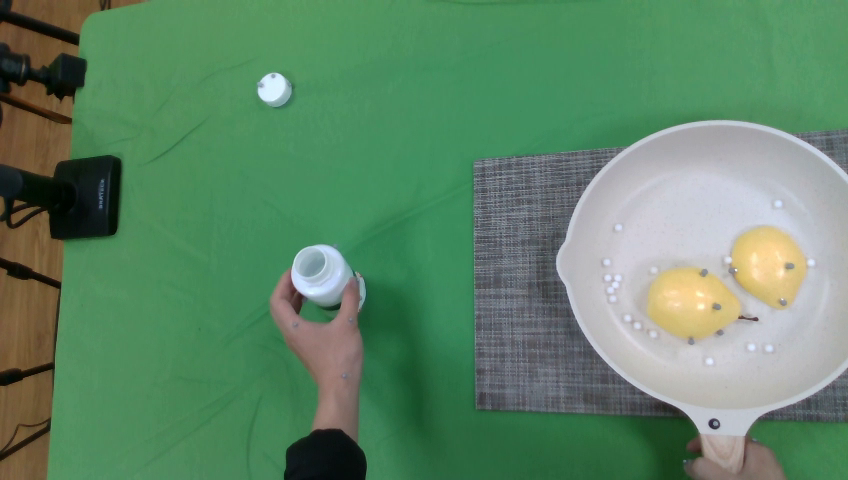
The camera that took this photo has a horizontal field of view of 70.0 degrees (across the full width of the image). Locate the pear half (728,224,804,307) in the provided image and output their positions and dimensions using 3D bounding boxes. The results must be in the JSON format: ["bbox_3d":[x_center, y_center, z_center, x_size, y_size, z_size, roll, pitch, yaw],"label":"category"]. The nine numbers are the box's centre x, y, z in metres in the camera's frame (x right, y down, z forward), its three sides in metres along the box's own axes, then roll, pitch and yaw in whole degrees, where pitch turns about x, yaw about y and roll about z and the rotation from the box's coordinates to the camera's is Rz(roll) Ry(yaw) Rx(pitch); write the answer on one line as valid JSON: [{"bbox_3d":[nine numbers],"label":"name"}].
[{"bbox_3d":[0.357,0.025,0.627,0.070,0.031,0.087,-19,73,17],"label":"pear half"}]

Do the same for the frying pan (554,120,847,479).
[{"bbox_3d":[0.285,0.125,0.597,0.306,0.103,0.485,0,73,17],"label":"frying pan"}]

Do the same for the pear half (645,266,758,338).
[{"bbox_3d":[0.290,0.067,0.629,0.109,0.056,0.076,10,89,16],"label":"pear half"}]

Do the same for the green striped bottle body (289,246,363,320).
[{"bbox_3d":[-0.117,0.049,0.712,0.063,0.120,0.062,-4,67,9],"label":"green striped bottle body"}]

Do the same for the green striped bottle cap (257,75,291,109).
[{"bbox_3d":[-0.208,-0.205,0.842,0.044,0.020,0.044,-3,81,17],"label":"green striped bottle cap"}]
